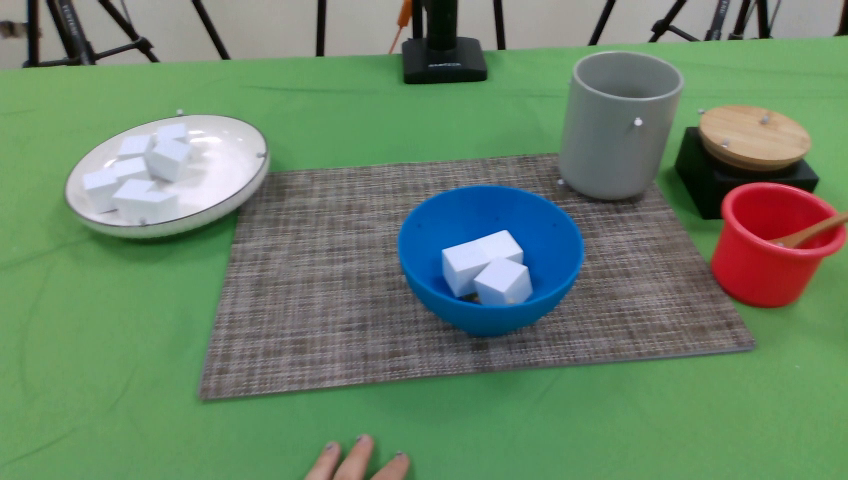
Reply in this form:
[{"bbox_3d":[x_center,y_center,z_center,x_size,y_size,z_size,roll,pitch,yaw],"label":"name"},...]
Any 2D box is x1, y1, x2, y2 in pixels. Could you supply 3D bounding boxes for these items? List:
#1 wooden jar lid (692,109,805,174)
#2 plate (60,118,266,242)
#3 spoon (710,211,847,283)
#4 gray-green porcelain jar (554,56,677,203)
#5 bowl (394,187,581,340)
[{"bbox_3d":[0.335,-0.102,0.631,0.108,0.021,0.107,-1,41,1],"label":"wooden jar lid"},{"bbox_3d":[-0.274,-0.064,0.656,0.209,0.038,0.207,-1,42,1],"label":"plate"},{"bbox_3d":[0.337,-0.008,0.507,0.022,0.193,0.041,41,38,-22],"label":"spoon"},{"bbox_3d":[0.193,-0.110,0.631,0.106,0.127,0.105,0,42,1],"label":"gray-green porcelain jar"},{"bbox_3d":[0.051,0.031,0.510,0.151,0.077,0.150,0,42,0],"label":"bowl"}]
